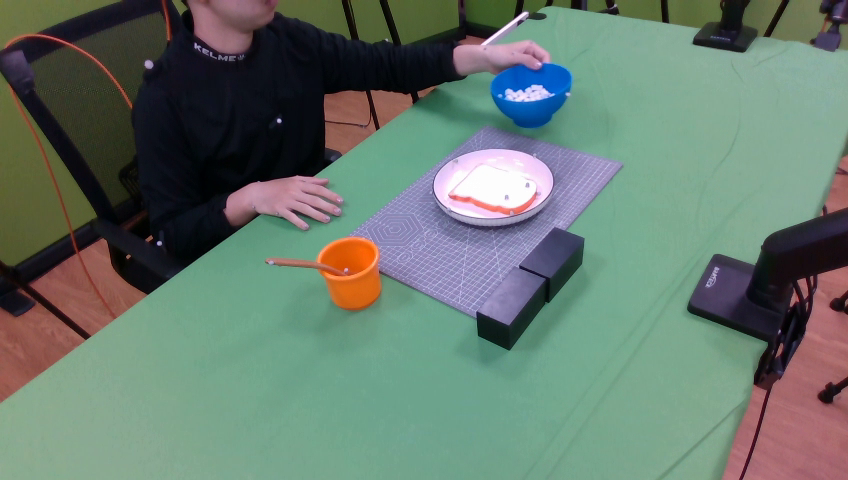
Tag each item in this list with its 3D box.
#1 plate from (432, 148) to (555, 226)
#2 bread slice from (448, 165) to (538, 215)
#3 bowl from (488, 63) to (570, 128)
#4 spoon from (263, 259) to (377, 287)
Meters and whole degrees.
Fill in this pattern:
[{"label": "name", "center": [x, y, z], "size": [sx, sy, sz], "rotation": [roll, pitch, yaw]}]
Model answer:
[{"label": "plate", "center": [0.119, -0.087, 1.037], "size": [0.209, 0.038, 0.208], "rotation": [-4, 40, 4]}, {"label": "bread slice", "center": [0.126, -0.085, 1.037], "size": [0.133, 0.018, 0.107], "rotation": [16, 45, 27]}, {"label": "bowl", "center": [0.199, -0.262, 1.133], "size": [0.151, 0.077, 0.150], "rotation": [-7, 40, 7]}, {"label": "spoon", "center": [-0.140, 0.042, 0.843], "size": [0.041, 0.195, 0.021], "rotation": [35, 100, 41]}]
